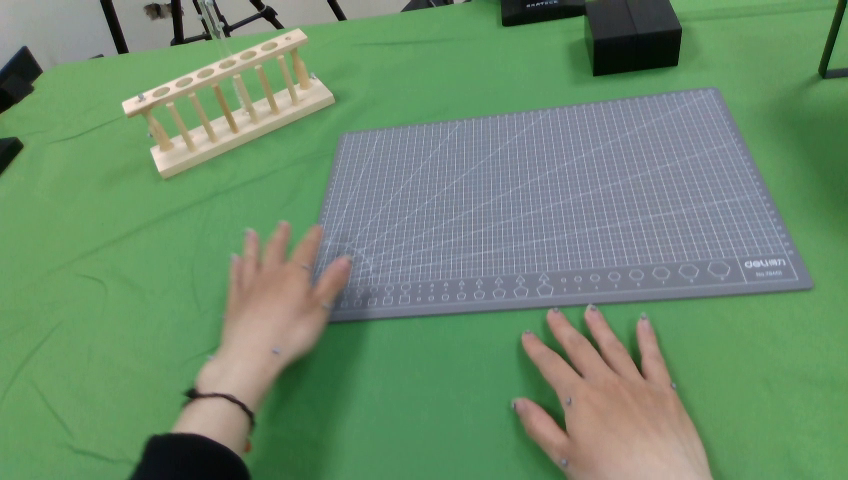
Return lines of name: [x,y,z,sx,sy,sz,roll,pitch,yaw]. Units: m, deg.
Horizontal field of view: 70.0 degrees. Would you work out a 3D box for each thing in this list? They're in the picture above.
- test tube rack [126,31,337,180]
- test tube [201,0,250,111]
test tube rack: [-0.245,-0.178,0.789,0.242,0.086,0.066,-28,47,-13]
test tube: [-0.247,-0.232,0.771,0.017,0.152,0.017,-7,41,6]
